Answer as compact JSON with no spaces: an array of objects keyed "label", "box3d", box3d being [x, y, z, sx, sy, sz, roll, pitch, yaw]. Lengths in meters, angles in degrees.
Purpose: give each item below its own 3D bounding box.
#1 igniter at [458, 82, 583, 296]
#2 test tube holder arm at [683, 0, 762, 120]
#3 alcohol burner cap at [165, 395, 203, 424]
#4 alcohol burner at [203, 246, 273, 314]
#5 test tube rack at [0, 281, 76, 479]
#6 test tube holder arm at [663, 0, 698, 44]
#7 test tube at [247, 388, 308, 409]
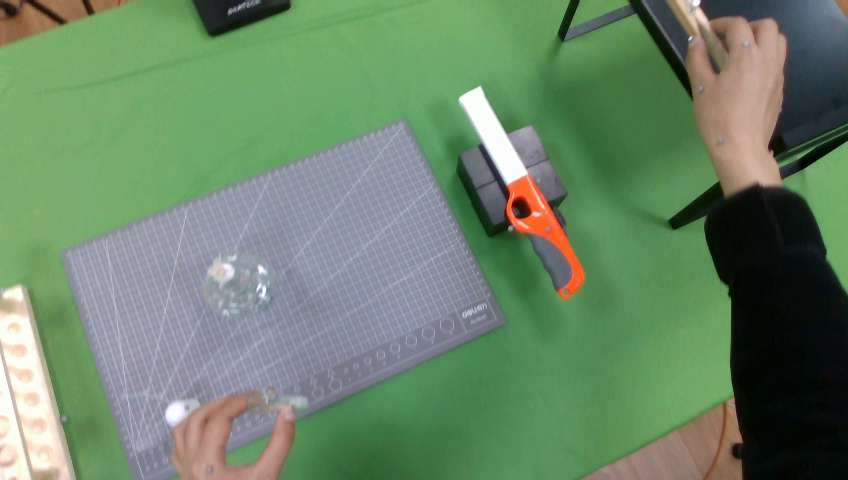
[{"label":"igniter","box3d":[0.113,-0.064,0.710,0.057,0.025,0.275,-26,77,2]},{"label":"test tube holder arm","box3d":[0.263,-0.189,0.565,0.013,0.015,0.178,-33,87,4]},{"label":"alcohol burner cap","box3d":[-0.264,0.185,0.660,0.034,0.048,0.033,1,74,-4]},{"label":"alcohol burner","box3d":[-0.208,0.041,0.665,0.078,0.119,0.077,1,76,-2]},{"label":"test tube rack","box3d":[-0.449,0.158,0.638,0.067,0.085,0.241,-21,77,-8]},{"label":"test tube holder arm","box3d":[0.234,-0.224,0.568,0.010,0.015,0.087,-31,87,4]},{"label":"test tube","box3d":[-0.125,0.140,0.532,0.017,0.151,0.017,0,75,2]}]
